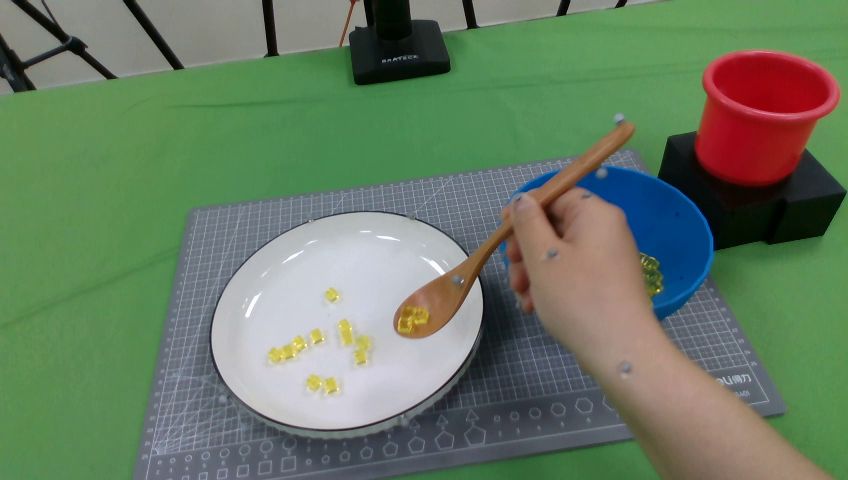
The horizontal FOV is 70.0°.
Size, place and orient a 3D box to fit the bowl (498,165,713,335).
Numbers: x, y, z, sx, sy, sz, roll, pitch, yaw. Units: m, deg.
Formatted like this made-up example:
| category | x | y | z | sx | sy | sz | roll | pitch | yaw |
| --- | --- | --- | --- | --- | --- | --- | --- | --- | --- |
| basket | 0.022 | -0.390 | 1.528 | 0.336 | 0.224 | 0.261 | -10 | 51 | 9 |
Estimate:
| category | x | y | z | sx | sy | sz | roll | pitch | yaw |
| --- | --- | --- | --- | --- | --- | --- | --- | --- | --- |
| bowl | 0.131 | 0.020 | 0.464 | 0.151 | 0.077 | 0.150 | -3 | 46 | 3 |

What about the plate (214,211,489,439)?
| category | x | y | z | sx | sy | sz | roll | pitch | yaw |
| --- | --- | --- | --- | --- | --- | --- | --- | --- | --- |
| plate | -0.054 | 0.061 | 0.471 | 0.207 | 0.039 | 0.205 | -3 | 46 | 3 |

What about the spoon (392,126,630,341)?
| category | x | y | z | sx | sy | sz | roll | pitch | yaw |
| --- | --- | --- | --- | --- | --- | --- | --- | --- | --- |
| spoon | 0.049 | -0.001 | 0.375 | 0.194 | 0.022 | 0.041 | -46 | 35 | 22 |
